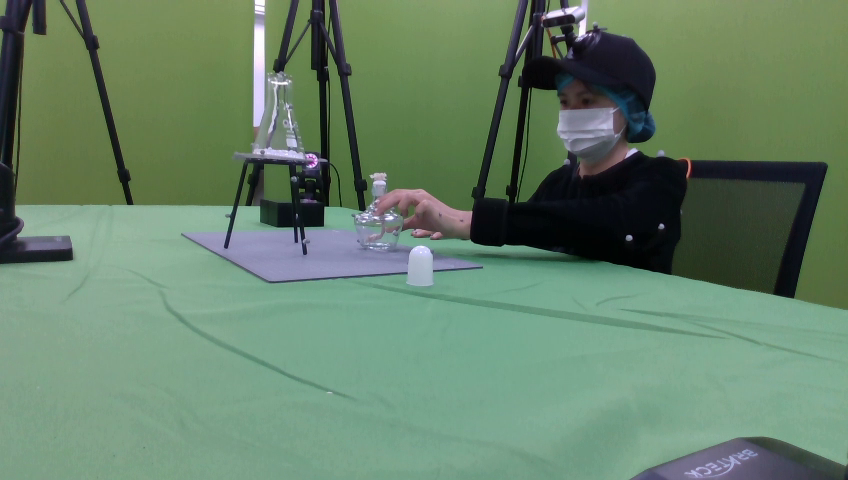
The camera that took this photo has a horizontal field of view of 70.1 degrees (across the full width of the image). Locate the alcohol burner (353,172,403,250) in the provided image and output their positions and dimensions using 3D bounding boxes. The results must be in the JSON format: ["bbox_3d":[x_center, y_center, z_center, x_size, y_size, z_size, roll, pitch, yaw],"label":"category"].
[{"bbox_3d":[-0.071,-0.044,0.928,0.078,0.119,0.078,1,10,0],"label":"alcohol burner"}]

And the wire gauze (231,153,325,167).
[{"bbox_3d":[-0.215,-0.117,0.882,0.125,0.011,0.121,3,7,-19],"label":"wire gauze"}]

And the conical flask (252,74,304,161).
[{"bbox_3d":[-0.211,-0.177,0.879,0.075,0.122,0.075,3,6,0],"label":"conical flask"}]

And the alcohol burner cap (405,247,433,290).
[{"bbox_3d":[-0.005,0.031,0.698,0.034,0.048,0.034,3,8,0],"label":"alcohol burner cap"}]

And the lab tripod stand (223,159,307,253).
[{"bbox_3d":[-0.220,-0.053,0.896,0.148,0.131,0.148,1,6,0],"label":"lab tripod stand"}]
